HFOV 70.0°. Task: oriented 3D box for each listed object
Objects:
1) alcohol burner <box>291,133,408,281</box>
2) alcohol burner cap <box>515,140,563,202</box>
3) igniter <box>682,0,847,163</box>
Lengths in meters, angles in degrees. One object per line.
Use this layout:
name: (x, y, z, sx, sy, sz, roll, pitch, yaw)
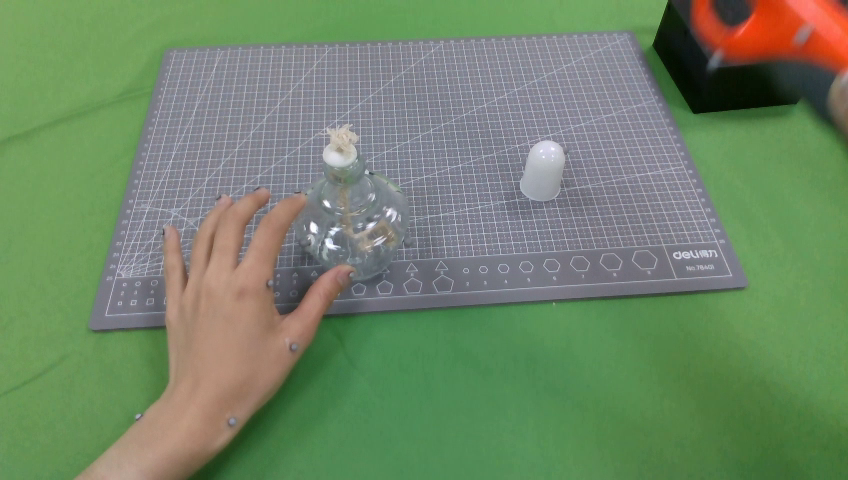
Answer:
alcohol burner: (-0.050, -0.026, 0.392, 0.078, 0.120, 0.077, 0, 55, 0)
alcohol burner cap: (0.089, -0.055, 0.461, 0.034, 0.048, 0.033, 1, 53, -2)
igniter: (0.145, -0.139, 0.314, 0.275, 0.057, 0.025, 50, 41, 13)
